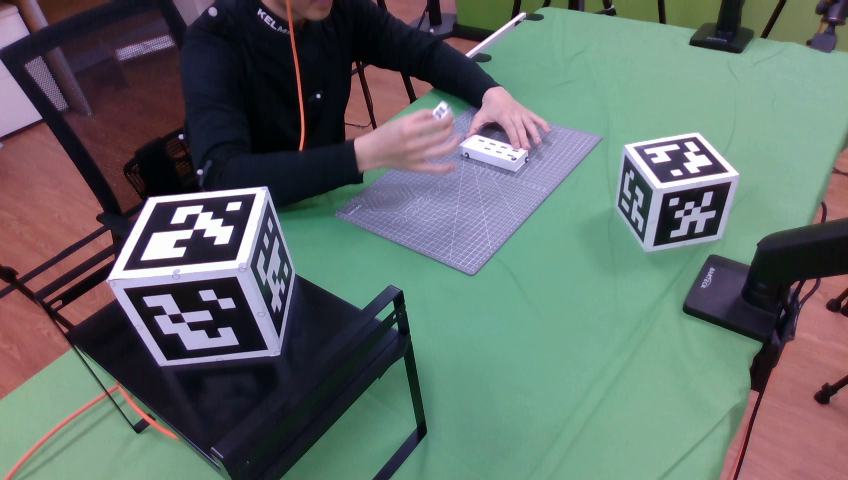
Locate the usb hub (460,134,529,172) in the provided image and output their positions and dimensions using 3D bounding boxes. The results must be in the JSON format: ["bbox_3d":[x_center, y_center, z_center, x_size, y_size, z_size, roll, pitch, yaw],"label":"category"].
[{"bbox_3d":[0.132,-0.165,1.138,0.124,0.025,0.049,22,50,30],"label":"usb hub"}]

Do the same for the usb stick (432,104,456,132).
[{"bbox_3d":[0.035,-0.198,0.997,0.021,0.059,0.027,41,91,20],"label":"usb stick"}]
